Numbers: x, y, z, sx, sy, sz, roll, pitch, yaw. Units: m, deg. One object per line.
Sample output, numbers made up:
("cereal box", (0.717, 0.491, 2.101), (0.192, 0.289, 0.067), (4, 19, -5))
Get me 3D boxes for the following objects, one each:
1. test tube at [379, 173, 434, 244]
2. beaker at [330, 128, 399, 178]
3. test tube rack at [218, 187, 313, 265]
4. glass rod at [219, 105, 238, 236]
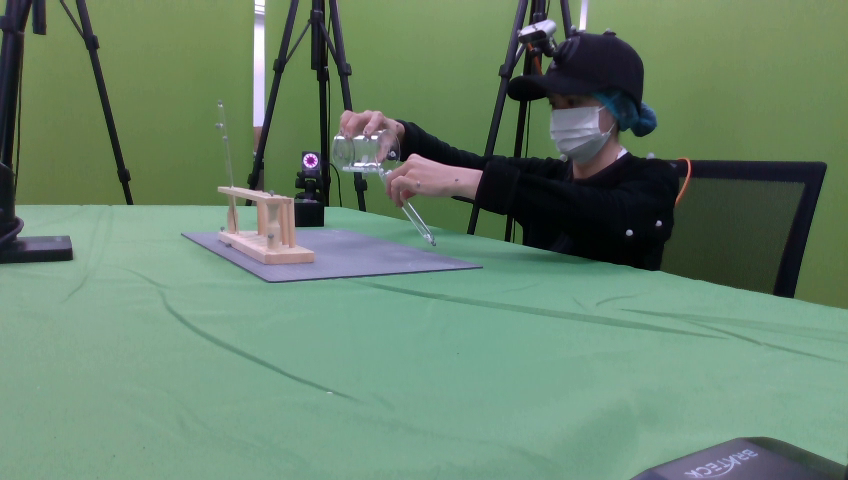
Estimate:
("test tube", (-0.029, -0.051, 0.978), (0.017, 0.017, 0.149), (-7, 54, -50))
("beaker", (-0.103, -0.148, 1.030), (0.100, 0.084, 0.074), (6, -4, 31))
("test tube rack", (-0.235, -0.027, 0.872), (0.067, 0.085, 0.241), (-2, 8, -32))
("glass rod", (-0.294, -0.100, 0.908), (0.008, 0.199, 0.008), (-3, 12, 1))
